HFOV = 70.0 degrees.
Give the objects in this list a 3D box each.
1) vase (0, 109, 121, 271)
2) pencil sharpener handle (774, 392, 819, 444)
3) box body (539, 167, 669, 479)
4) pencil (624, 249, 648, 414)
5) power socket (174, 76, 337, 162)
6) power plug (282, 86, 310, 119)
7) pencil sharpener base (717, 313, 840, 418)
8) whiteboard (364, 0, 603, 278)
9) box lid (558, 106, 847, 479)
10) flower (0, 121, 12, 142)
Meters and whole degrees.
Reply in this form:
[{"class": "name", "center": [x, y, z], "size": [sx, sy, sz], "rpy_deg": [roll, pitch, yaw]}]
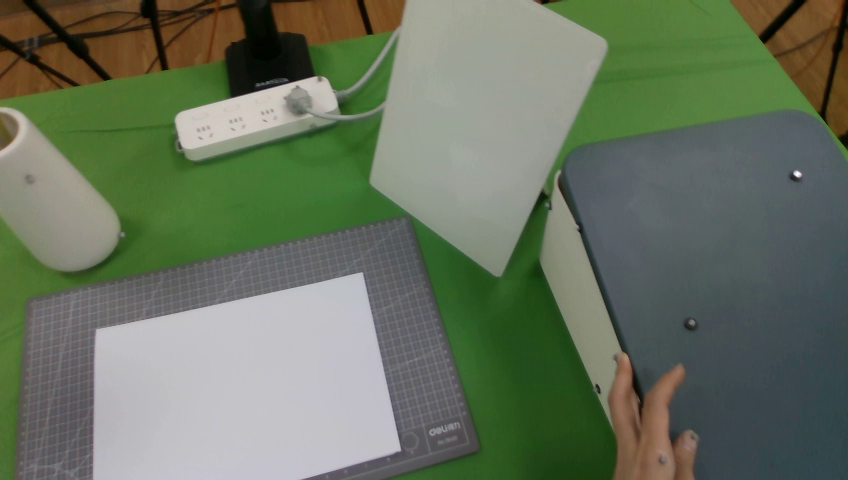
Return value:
[{"class": "vase", "center": [-0.411, -0.047, 0.649], "size": [0.098, 0.201, 0.097], "rpy_deg": [0, 59, 1]}, {"class": "pencil sharpener handle", "center": [0.346, 0.167, 0.562], "size": [0.036, 0.068, 0.030], "rpy_deg": [-5, 57, 19]}, {"class": "box body", "center": [0.292, 0.083, 0.601], "size": [0.254, 0.161, 0.360], "rpy_deg": [-14, 60, -9]}, {"class": "pencil", "center": [0.237, 0.097, 0.676], "size": [0.012, 0.012, 0.192], "rpy_deg": [3, 62, 2]}, {"class": "power socket", "center": [-0.226, -0.165, 0.819], "size": [0.227, 0.033, 0.071], "rpy_deg": [-18, 62, -12]}, {"class": "power plug", "center": [-0.167, -0.170, 0.795], "size": [0.035, 0.053, 0.072], "rpy_deg": [-10, 61, -6]}, {"class": "pencil sharpener base", "center": [0.346, 0.130, 0.600], "size": [0.061, 0.108, 0.076], "rpy_deg": [6, 59, 1]}, {"class": "whiteboard", "center": [0.080, -0.149, 0.690], "size": [0.215, 0.307, 0.144], "rpy_deg": [37, 46, 20]}, {"class": "box lid", "center": [0.284, 0.040, 0.509], "size": [0.263, 0.015, 0.368], "rpy_deg": [-10, 61, -4]}, {"class": "flower", "center": [-0.409, -0.106, 0.589], "size": [0.038, 0.365, 0.043], "rpy_deg": [-24, 44, -22]}]
